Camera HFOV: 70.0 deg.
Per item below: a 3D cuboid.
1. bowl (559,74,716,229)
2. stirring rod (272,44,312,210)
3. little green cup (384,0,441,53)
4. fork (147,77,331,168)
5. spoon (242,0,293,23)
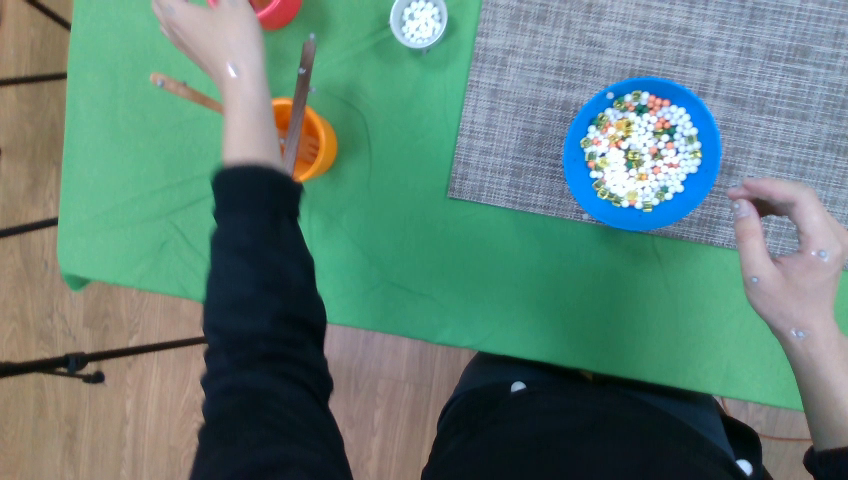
[{"bbox_3d":[0.214,-0.089,0.633,0.151,0.077,0.151,1,97,8],"label":"bowl"},{"bbox_3d":[-0.140,-0.118,0.642,0.014,0.006,0.176,13,99,4],"label":"stirring rod"},{"bbox_3d":[-0.010,-0.237,0.668,0.061,0.038,0.061,1,97,8],"label":"little green cup"},{"bbox_3d":[-0.191,-0.124,0.651,0.209,0.018,0.028,21,106,-39],"label":"fork"},{"bbox_3d":[-0.227,-0.288,0.638,0.195,0.021,0.041,21,100,-39],"label":"spoon"}]
